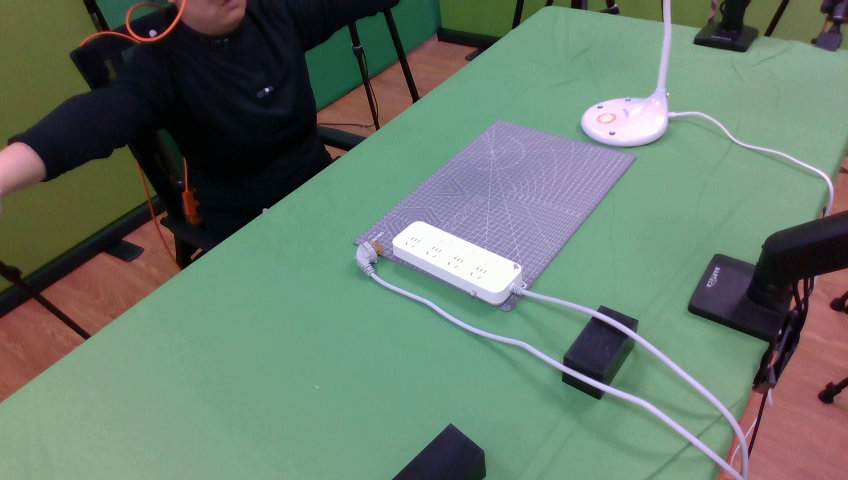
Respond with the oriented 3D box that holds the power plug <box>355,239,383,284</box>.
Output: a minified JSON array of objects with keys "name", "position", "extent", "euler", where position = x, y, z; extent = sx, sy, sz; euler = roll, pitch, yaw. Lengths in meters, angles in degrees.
[{"name":"power plug","position":[-0.078,0.033,0.947],"extent":[0.053,0.035,0.072],"euler":[-34,82,-22]}]

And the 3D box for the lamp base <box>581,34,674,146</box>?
[{"name":"lamp base","position":[0.392,-0.291,1.129],"extent":[0.180,0.181,0.159],"euler":[-11,41,-8]}]

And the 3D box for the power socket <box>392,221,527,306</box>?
[{"name":"power socket","position":[0.046,0.031,0.912],"extent":[0.225,0.033,0.072],"euler":[25,51,32]}]
